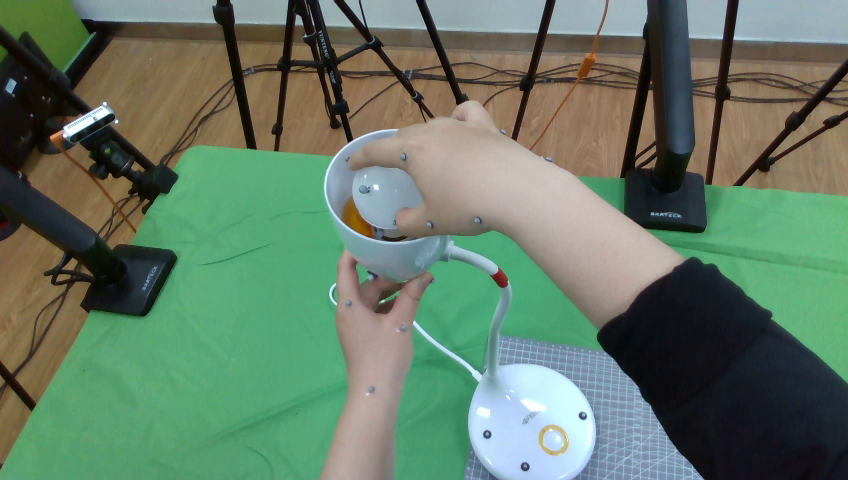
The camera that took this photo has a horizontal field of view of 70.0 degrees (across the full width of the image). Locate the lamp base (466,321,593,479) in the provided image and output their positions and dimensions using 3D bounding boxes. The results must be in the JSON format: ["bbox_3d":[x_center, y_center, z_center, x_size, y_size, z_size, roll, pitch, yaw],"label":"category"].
[{"bbox_3d":[0.115,0.176,0.717,0.177,0.182,0.160,30,63,28],"label":"lamp base"}]

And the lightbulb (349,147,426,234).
[{"bbox_3d":[-0.029,-0.032,0.492,0.059,0.108,0.059,1,64,-2],"label":"lightbulb"}]

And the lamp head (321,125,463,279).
[{"bbox_3d":[-0.021,-0.018,0.516,0.112,0.124,0.111,-2,58,4],"label":"lamp head"}]
